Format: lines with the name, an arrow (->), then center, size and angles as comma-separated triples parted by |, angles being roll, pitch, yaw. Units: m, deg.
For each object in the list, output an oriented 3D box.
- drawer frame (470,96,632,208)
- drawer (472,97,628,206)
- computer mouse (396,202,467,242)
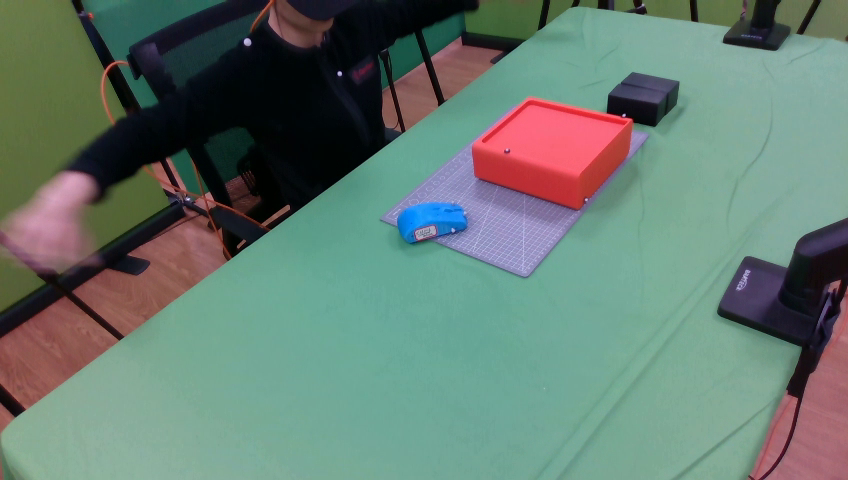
drawer frame -> 0.227, -0.164, 1.081 | 0.212, 0.083, 0.202 | 23, 49, 31
drawer -> 0.225, -0.164, 1.082 | 0.210, 0.073, 0.195 | 23, 49, 32
computer mouse -> 0.012, -0.035, 1.005 | 0.117, 0.041, 0.062 | -11, 38, -8
